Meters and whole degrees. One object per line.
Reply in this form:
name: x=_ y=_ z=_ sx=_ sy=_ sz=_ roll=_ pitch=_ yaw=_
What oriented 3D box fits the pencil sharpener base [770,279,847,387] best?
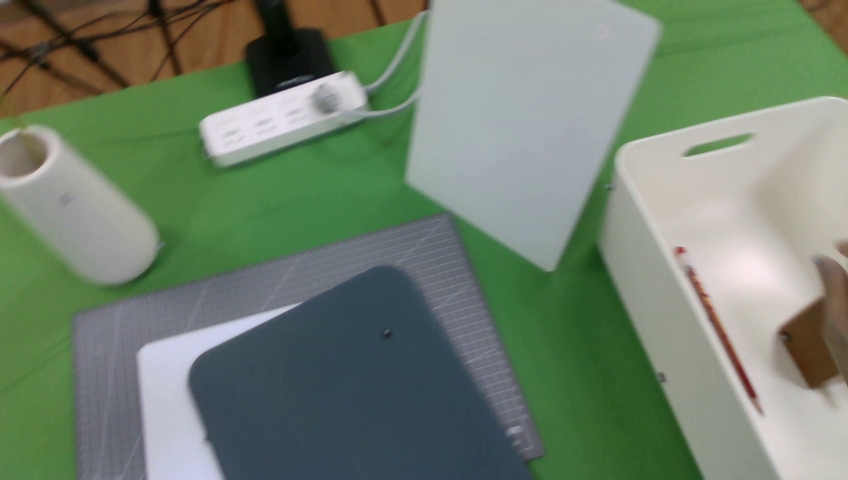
pencil sharpener base: x=0.401 y=0.092 z=0.584 sx=0.061 sy=0.108 sz=0.076 roll=-14 pitch=62 yaw=-7

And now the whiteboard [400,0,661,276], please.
whiteboard: x=0.121 y=-0.152 z=0.660 sx=0.216 sy=0.308 sz=0.143 roll=34 pitch=49 yaw=20

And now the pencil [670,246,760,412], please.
pencil: x=0.308 y=0.089 z=0.644 sx=0.012 sy=0.012 sz=0.192 roll=-14 pitch=61 yaw=-5

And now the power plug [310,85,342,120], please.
power plug: x=-0.124 y=-0.165 z=0.772 sx=0.035 sy=0.053 sz=0.072 roll=-13 pitch=63 yaw=-4

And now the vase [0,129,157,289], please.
vase: x=-0.365 y=-0.026 z=0.636 sx=0.098 sy=0.201 sz=0.097 roll=-2 pitch=60 yaw=3

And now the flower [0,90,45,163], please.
flower: x=-0.368 y=-0.084 z=0.573 sx=0.038 sy=0.365 sz=0.043 roll=-27 pitch=45 yaw=-20

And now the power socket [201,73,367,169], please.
power socket: x=-0.182 y=-0.158 z=0.797 sx=0.227 sy=0.033 sz=0.071 roll=-21 pitch=63 yaw=-10

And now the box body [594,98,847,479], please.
box body: x=0.344 y=0.070 z=0.574 sx=0.254 sy=0.162 sz=0.360 roll=-14 pitch=61 yaw=-5

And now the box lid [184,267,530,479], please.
box lid: x=-0.060 y=0.215 z=0.595 sx=0.263 sy=0.015 sz=0.368 roll=-27 pitch=64 yaw=-13
